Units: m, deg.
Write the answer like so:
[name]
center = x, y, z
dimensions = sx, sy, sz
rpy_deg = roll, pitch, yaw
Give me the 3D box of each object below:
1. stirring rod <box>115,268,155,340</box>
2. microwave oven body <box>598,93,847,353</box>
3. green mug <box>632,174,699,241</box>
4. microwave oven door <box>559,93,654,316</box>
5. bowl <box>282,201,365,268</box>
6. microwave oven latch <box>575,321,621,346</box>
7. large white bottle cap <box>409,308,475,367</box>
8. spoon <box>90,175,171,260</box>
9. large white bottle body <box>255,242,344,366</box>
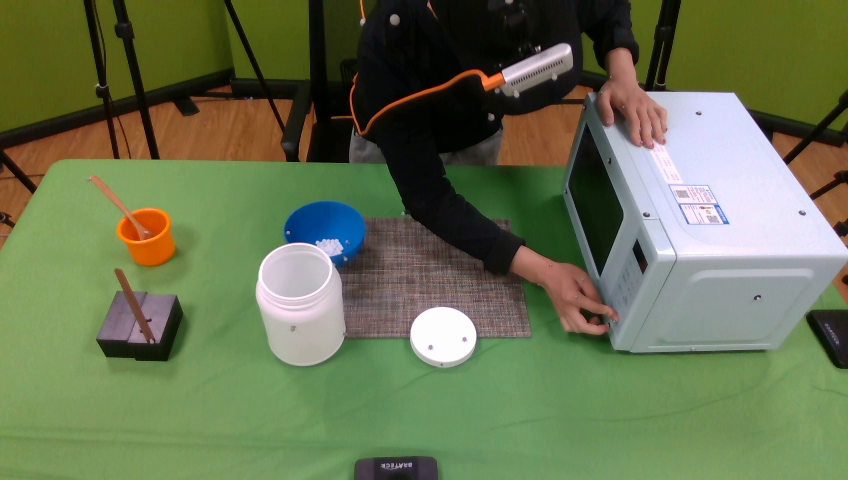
[stirring rod]
center = -0.478, 0.103, 0.999
dimensions = 0.014, 0.006, 0.175
rpy_deg = 7, 32, -50
[microwave oven body]
center = 0.476, -0.042, 1.109
dimensions = 0.326, 0.261, 0.438
rpy_deg = -1, 45, -4
[green mug]
center = 0.456, -0.056, 1.153
dimensions = 0.125, 0.105, 0.092
rpy_deg = -16, 45, -10
[microwave oven door]
center = 0.327, -0.074, 1.123
dimensions = 0.039, 0.245, 0.353
rpy_deg = -1, 46, -5
[bowl]
center = -0.187, 0.005, 1.138
dimensions = 0.151, 0.077, 0.150
rpy_deg = 3, 46, -3
[microwave oven latch]
center = 0.302, 0.155, 1.040
dimensions = 0.079, 0.029, 0.030
rpy_deg = 21, 47, 16
[large white bottle cap]
center = 0.031, 0.166, 1.041
dimensions = 0.115, 0.018, 0.114
rpy_deg = 2, 46, -2
[spoon]
center = -0.538, -0.042, 1.111
dimensions = 0.021, 0.194, 0.041
rpy_deg = -14, 26, 51
[large white bottle body]
center = -0.196, 0.102, 0.967
dimensions = 0.131, 0.185, 0.130
rpy_deg = 2, 49, -2
